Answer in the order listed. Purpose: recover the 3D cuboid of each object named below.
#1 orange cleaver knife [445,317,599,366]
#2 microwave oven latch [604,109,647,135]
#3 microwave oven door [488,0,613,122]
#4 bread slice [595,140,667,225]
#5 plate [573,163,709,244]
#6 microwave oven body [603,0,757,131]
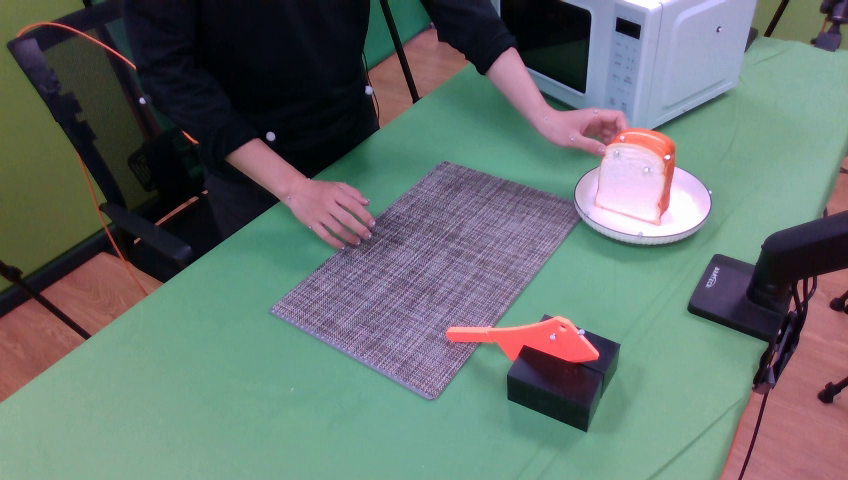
[{"bbox_3d":[0.115,0.129,0.751,0.210,0.077,0.012,-11,31,44],"label":"orange cleaver knife"},{"bbox_3d":[0.378,-0.225,1.139,0.030,0.029,0.078,-26,43,-20],"label":"microwave oven latch"},{"bbox_3d":[0.250,-0.412,1.219,0.039,0.245,0.352,-27,44,-21],"label":"microwave oven door"},{"bbox_3d":[0.320,-0.092,0.935,0.106,0.135,0.018,17,45,31],"label":"bread slice"},{"bbox_3d":[0.347,-0.059,0.978,0.207,0.039,0.206,-4,41,4],"label":"plate"},{"bbox_3d":[0.396,-0.448,1.248,0.327,0.261,0.437,-27,44,-21],"label":"microwave oven body"}]
